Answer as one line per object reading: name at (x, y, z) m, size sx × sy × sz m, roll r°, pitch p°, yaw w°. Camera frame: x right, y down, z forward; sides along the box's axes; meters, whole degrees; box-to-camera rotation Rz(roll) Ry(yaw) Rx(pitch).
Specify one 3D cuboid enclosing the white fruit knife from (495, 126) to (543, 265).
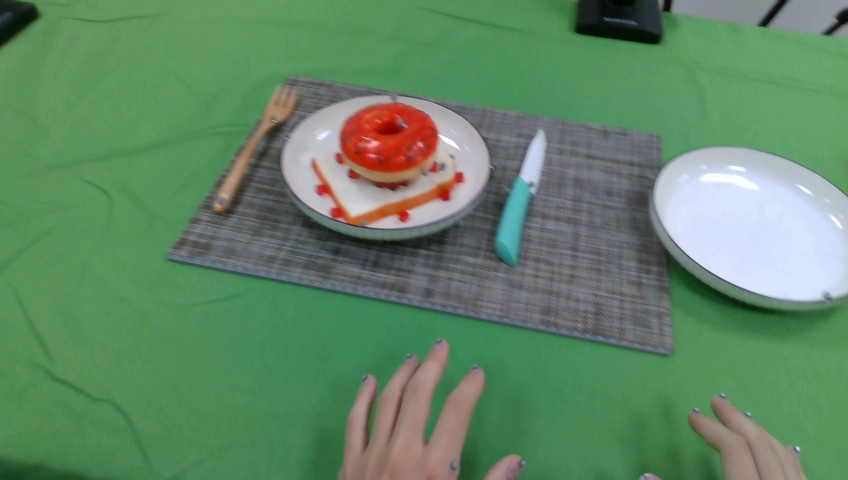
white fruit knife at (0.101, -0.056, 0.621) m, size 0.027 × 0.016 × 0.206 m, roll 34°, pitch 47°, yaw -13°

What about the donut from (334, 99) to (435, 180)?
donut at (-0.038, -0.098, 0.584) m, size 0.099 × 0.048 × 0.098 m, roll 2°, pitch 48°, yaw -2°

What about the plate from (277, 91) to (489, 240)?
plate at (-0.040, -0.075, 0.611) m, size 0.209 × 0.038 × 0.207 m, roll 2°, pitch 49°, yaw -2°

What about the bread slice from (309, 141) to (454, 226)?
bread slice at (-0.038, -0.070, 0.610) m, size 0.132 × 0.019 × 0.104 m, roll -22°, pitch 54°, yaw -20°

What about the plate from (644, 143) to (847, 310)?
plate at (0.315, -0.013, 0.586) m, size 0.208 × 0.039 × 0.205 m, roll 2°, pitch 48°, yaw -2°

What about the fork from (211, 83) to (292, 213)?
fork at (-0.180, -0.104, 0.639) m, size 0.028 × 0.019 × 0.205 m, roll 14°, pitch 47°, yaw -1°
